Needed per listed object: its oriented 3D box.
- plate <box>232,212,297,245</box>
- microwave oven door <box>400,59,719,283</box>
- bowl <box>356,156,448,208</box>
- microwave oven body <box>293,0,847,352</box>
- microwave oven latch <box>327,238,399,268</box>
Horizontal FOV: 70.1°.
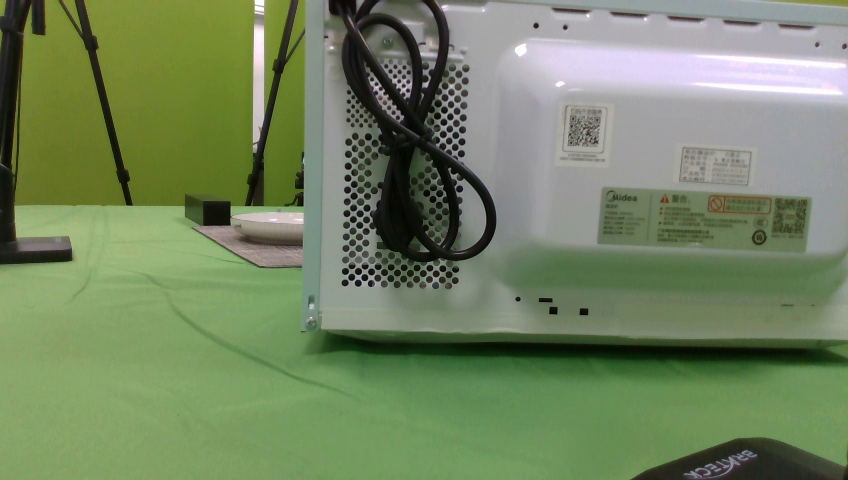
[{"bbox_3d":[-0.214,-0.019,1.018,0.208,0.039,0.207,3,7,0],"label":"plate"},{"bbox_3d":[0.154,-0.079,0.706,0.356,0.243,0.039,2,8,-2],"label":"microwave oven door"},{"bbox_3d":[-0.034,-0.092,0.995,0.151,0.077,0.151,-2,2,0],"label":"bowl"},{"bbox_3d":[0.122,-0.055,0.550,0.442,0.260,0.325,3,7,-5],"label":"microwave oven body"},{"bbox_3d":[-0.069,0.015,0.694,0.079,0.029,0.030,3,7,-3],"label":"microwave oven latch"}]
